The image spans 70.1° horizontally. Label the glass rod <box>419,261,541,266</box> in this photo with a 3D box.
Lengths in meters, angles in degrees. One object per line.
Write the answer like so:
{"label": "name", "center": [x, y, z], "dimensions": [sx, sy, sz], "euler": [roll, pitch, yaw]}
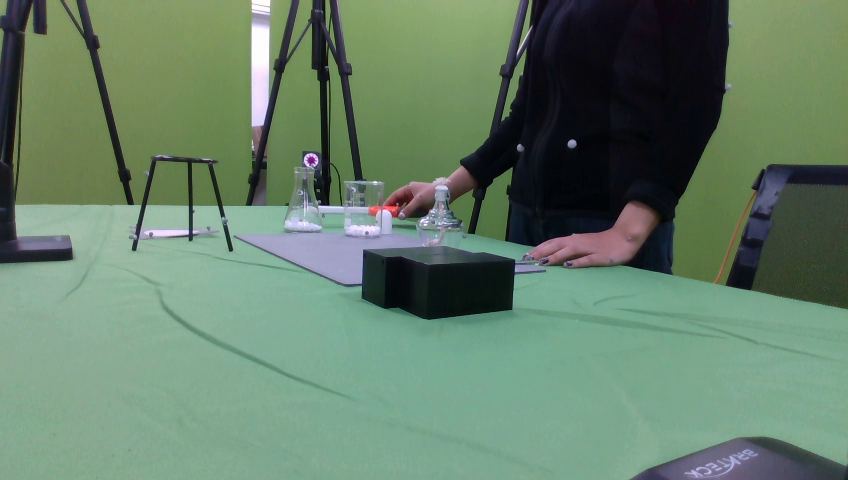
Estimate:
{"label": "glass rod", "center": [0.080, 0.031, 0.807], "dimensions": [0.201, 0.008, 0.008], "euler": [1, 6, -32]}

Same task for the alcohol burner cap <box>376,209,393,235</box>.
{"label": "alcohol burner cap", "center": [-0.075, -0.036, 1.150], "dimensions": [0.034, 0.048, 0.034], "euler": [2, 7, 0]}

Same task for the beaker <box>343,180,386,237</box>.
{"label": "beaker", "center": [-0.111, -0.058, 1.090], "dimensions": [0.083, 0.100, 0.074], "euler": [7, 8, 33]}

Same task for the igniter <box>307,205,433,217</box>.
{"label": "igniter", "center": [-0.109, -0.063, 1.289], "dimensions": [0.278, 0.025, 0.057], "euler": [0, 3, -27]}

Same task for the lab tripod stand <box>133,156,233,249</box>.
{"label": "lab tripod stand", "center": [-0.342, -0.054, 0.878], "dimensions": [0.148, 0.131, 0.148], "euler": [4, 6, 0]}

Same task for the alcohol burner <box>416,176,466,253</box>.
{"label": "alcohol burner", "center": [0.027, -0.039, 0.935], "dimensions": [0.078, 0.119, 0.078], "euler": [2, 9, 0]}

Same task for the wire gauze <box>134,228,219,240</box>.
{"label": "wire gauze", "center": [-0.421, -0.014, 1.024], "dimensions": [0.122, 0.011, 0.124], "euler": [-2, 7, -34]}

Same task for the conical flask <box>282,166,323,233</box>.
{"label": "conical flask", "center": [-0.225, -0.076, 1.129], "dimensions": [0.075, 0.122, 0.075], "euler": [2, 8, 0]}
